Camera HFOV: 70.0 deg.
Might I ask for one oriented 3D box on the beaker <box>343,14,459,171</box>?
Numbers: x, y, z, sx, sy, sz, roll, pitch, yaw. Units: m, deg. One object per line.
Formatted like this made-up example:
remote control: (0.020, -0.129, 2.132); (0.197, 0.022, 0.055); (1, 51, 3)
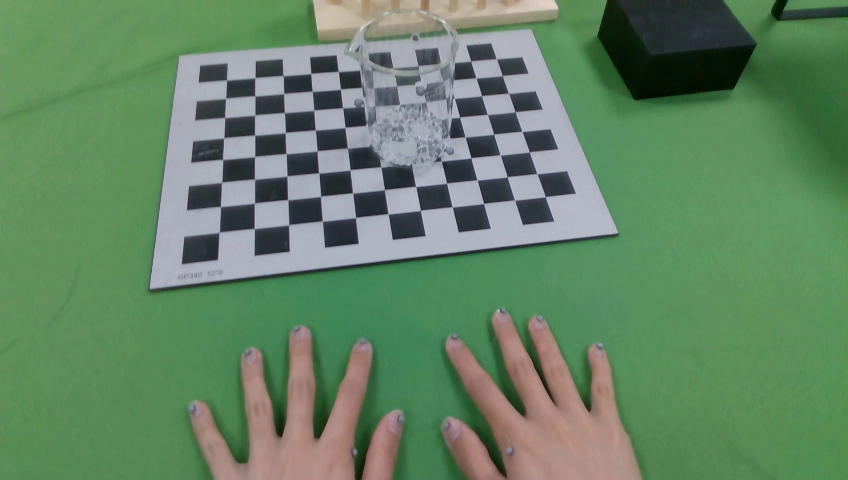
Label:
beaker: (-0.016, -0.110, 0.471); (0.084, 0.101, 0.073); (-7, 53, -5)

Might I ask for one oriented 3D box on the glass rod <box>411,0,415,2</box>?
glass rod: (0.000, -0.315, 0.556); (0.008, 0.201, 0.008); (5, 48, -5)

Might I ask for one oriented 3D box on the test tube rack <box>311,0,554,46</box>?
test tube rack: (0.009, -0.257, 0.595); (0.243, 0.086, 0.066); (-8, 54, -8)
